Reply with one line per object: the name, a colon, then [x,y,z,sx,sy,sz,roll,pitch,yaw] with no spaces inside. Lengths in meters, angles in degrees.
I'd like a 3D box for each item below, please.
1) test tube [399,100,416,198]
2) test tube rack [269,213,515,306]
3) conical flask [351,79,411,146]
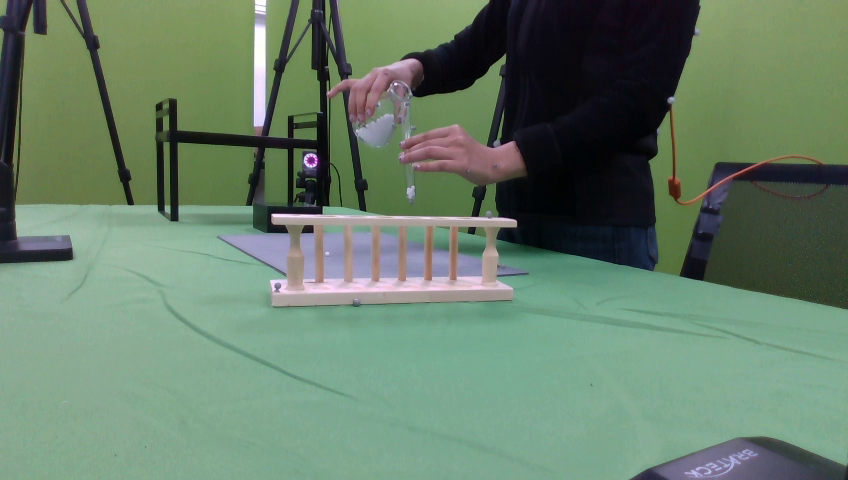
test tube: [-0.025,-0.139,0.921,0.017,0.150,0.017,-4,-4,0]
test tube rack: [-0.032,0.015,0.617,0.243,0.085,0.066,0,7,-17]
conical flask: [-0.066,-0.215,0.999,0.076,0.075,0.121,-3,-22,-33]
